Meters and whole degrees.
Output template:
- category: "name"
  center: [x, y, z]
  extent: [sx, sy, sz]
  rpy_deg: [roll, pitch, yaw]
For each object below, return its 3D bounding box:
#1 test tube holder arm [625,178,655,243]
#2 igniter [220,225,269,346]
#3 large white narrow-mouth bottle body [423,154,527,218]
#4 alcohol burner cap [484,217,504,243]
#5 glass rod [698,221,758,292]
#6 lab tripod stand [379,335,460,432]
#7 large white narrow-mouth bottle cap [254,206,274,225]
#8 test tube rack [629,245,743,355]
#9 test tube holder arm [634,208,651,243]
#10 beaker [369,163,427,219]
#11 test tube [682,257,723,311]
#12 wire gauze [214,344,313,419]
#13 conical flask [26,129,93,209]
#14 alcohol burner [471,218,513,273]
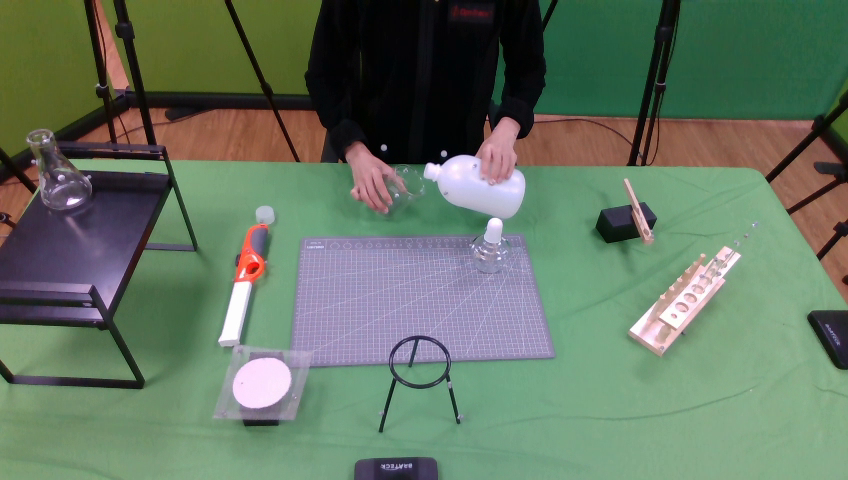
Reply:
- category: "test tube holder arm"
  center: [0.433, -0.063, 1.220]
  extent: [0.013, 0.015, 0.177]
  rpy_deg: [1, 47, -3]
- category: "igniter"
  center: [-0.323, 0.072, 1.100]
  extent: [0.057, 0.025, 0.275]
  rpy_deg: [-6, 46, 5]
- category: "large white narrow-mouth bottle body"
  center: [0.094, -0.113, 1.179]
  extent: [0.195, 0.102, 0.101]
  rpy_deg: [14, 45, -12]
- category: "alcohol burner cap"
  center: [0.129, -0.021, 1.107]
  extent: [0.034, 0.048, 0.033]
  rpy_deg: [4, 41, -3]
- category: "glass rod"
  center: [0.527, 0.035, 1.060]
  extent: [0.008, 0.200, 0.008]
  rpy_deg: [5, 49, -6]
- category: "lab tripod stand"
  center: [-0.011, 0.214, 0.911]
  extent: [0.148, 0.132, 0.147]
  rpy_deg: [1, 45, 0]
- category: "large white narrow-mouth bottle cap"
  center: [-0.323, -0.049, 1.222]
  extent: [0.038, 0.024, 0.037]
  rpy_deg: [2, 47, -2]
- category: "test tube rack"
  center: [0.474, 0.095, 1.091]
  extent: [0.242, 0.085, 0.066]
  rpy_deg: [-34, 56, -31]
- category: "test tube holder arm"
  center: [0.428, -0.030, 1.189]
  extent: [0.010, 0.015, 0.087]
  rpy_deg: [1, 47, -2]
- category: "beaker"
  center: [-0.054, -0.094, 1.209]
  extent: [0.084, 0.100, 0.073]
  rpy_deg: [29, 45, -25]
- category: "test tube"
  center: [0.475, 0.080, 1.037]
  extent: [0.017, 0.151, 0.017]
  rpy_deg: [1, 50, -1]
- category: "wire gauze"
  center: [-0.241, 0.213, 0.915]
  extent: [0.121, 0.011, 0.124]
  rpy_deg: [5, 46, 1]
- category: "conical flask"
  center: [-0.575, -0.113, 0.946]
  extent: [0.075, 0.122, 0.075]
  rpy_deg: [2, 46, -2]
- category: "alcohol burner"
  center: [0.128, 0.005, 1.132]
  extent: [0.078, 0.120, 0.077]
  rpy_deg: [0, 47, 0]
